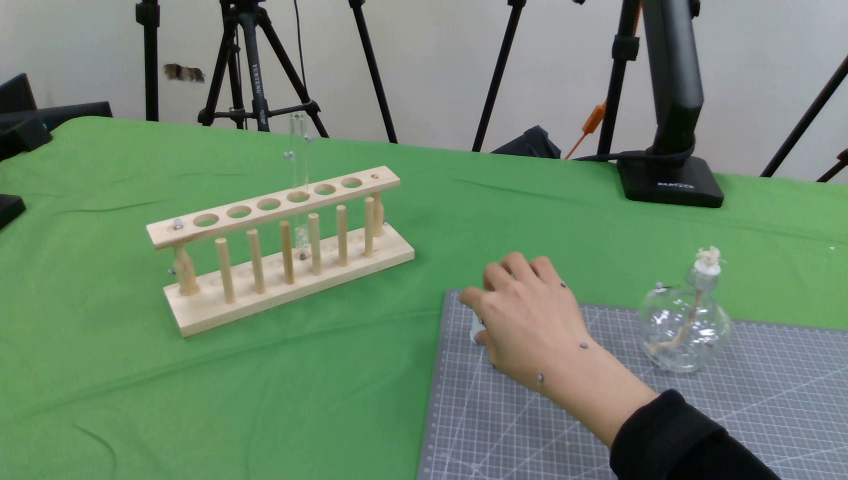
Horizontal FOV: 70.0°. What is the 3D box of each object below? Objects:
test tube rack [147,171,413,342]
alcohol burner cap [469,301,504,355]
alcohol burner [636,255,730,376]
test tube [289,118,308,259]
[{"bbox_3d":[-0.131,0.009,0.599,0.243,0.086,0.066,-18,40,-27],"label":"test tube rack"},{"bbox_3d":[0.058,0.076,0.549,0.034,0.048,0.033,2,36,-1],"label":"alcohol burner cap"},{"bbox_3d":[0.227,0.059,0.521,0.078,0.120,0.077,2,37,-1],"label":"alcohol burner"},{"bbox_3d":[-0.122,-0.046,0.592,0.017,0.151,0.017,5,31,-2],"label":"test tube"}]
